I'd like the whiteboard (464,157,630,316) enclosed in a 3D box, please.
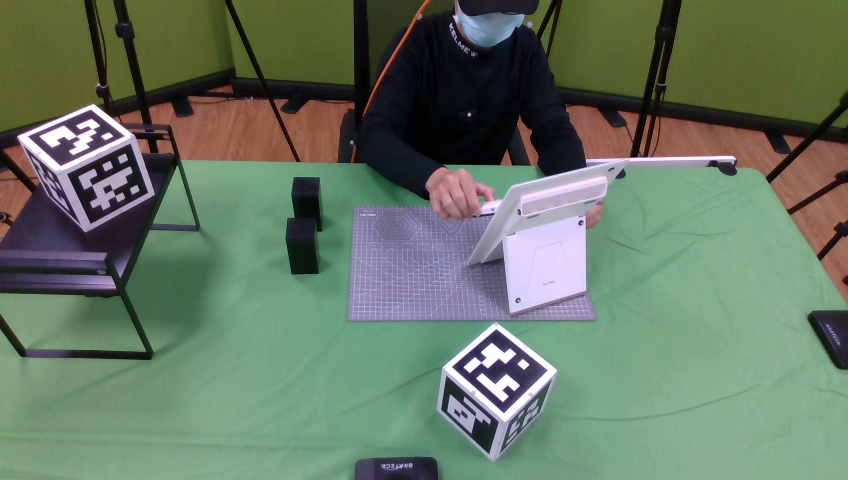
[{"bbox_3d":[0.224,0.015,1.042,0.217,0.306,0.143,-14,68,-17],"label":"whiteboard"}]

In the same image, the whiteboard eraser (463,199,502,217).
[{"bbox_3d":[0.107,-0.058,1.064,0.041,0.019,0.101,-30,15,-30],"label":"whiteboard eraser"}]
